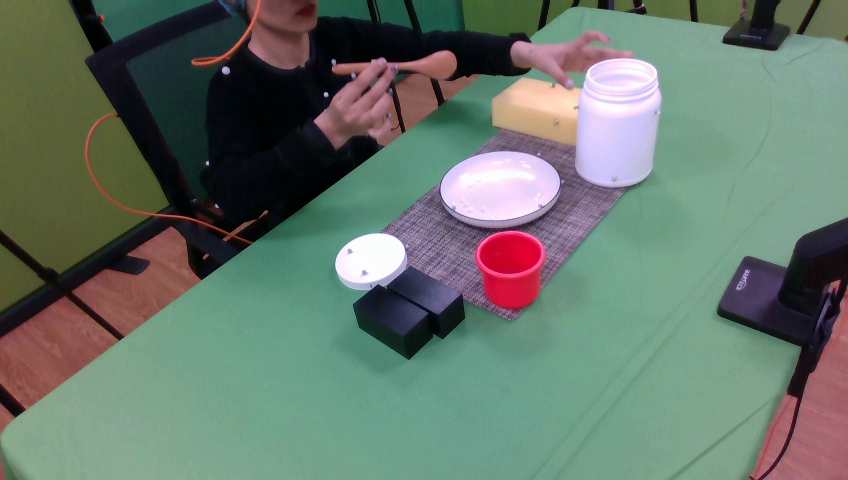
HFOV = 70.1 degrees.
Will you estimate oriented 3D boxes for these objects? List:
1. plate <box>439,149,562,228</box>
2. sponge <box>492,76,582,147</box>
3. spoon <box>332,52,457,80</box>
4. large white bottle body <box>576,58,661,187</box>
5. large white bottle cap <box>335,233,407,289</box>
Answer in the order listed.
[{"bbox_3d":[0.131,-0.085,1.040,0.209,0.038,0.208,-5,40,5],"label":"plate"},{"bbox_3d":[0.254,-0.259,1.208,0.205,0.061,0.118,22,47,31],"label":"sponge"},{"bbox_3d":[-0.038,-0.249,0.876,0.195,0.042,0.021,-8,35,-18],"label":"spoon"},{"bbox_3d":[0.326,-0.197,1.021,0.130,0.185,0.130,-5,40,5],"label":"large white bottle body"},{"bbox_3d":[-0.085,0.032,0.961,0.115,0.018,0.114,-6,42,6],"label":"large white bottle cap"}]
